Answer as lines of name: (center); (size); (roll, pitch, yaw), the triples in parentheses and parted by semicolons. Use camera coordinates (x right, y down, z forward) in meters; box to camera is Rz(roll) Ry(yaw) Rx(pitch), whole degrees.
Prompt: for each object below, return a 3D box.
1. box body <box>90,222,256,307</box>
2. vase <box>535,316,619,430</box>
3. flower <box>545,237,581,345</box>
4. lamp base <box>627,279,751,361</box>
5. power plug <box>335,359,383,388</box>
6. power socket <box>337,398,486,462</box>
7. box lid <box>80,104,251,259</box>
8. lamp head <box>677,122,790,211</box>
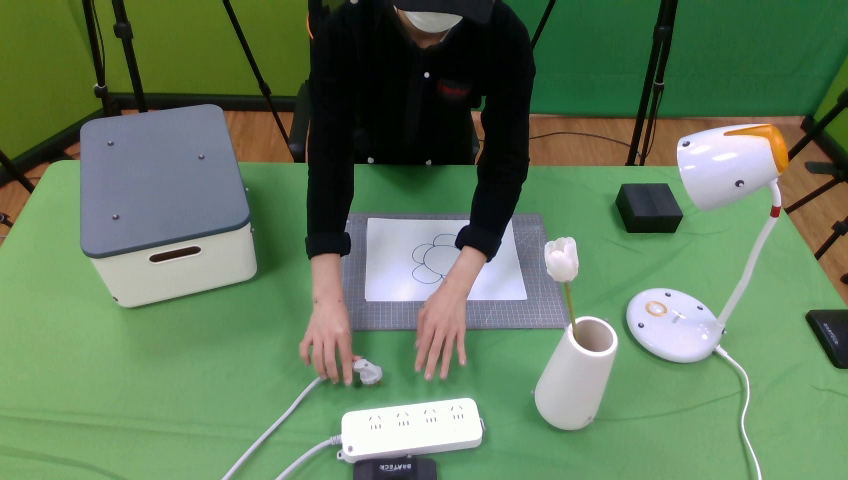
box body: (-0.471, -0.070, 1.131); (0.254, 0.161, 0.361); (-14, 49, -17)
vase: (0.229, 0.200, 0.900); (0.098, 0.201, 0.097); (3, 46, -3)
flower: (0.213, 0.137, 0.846); (0.038, 0.364, 0.044); (22, 55, 40)
lamp base: (0.460, 0.100, 1.027); (0.178, 0.181, 0.160); (27, 51, 17)
power plug: (-0.099, 0.213, 0.976); (0.072, 0.053, 0.035); (3, 35, 35)
power socket: (-0.018, 0.285, 0.914); (0.227, 0.033, 0.071); (-4, 46, -8)
box lid: (-0.467, -0.120, 1.076); (0.264, 0.015, 0.369); (-14, 49, -17)
lamp head: (0.423, -0.104, 0.819); (0.122, 0.113, 0.112); (-13, 33, 39)
